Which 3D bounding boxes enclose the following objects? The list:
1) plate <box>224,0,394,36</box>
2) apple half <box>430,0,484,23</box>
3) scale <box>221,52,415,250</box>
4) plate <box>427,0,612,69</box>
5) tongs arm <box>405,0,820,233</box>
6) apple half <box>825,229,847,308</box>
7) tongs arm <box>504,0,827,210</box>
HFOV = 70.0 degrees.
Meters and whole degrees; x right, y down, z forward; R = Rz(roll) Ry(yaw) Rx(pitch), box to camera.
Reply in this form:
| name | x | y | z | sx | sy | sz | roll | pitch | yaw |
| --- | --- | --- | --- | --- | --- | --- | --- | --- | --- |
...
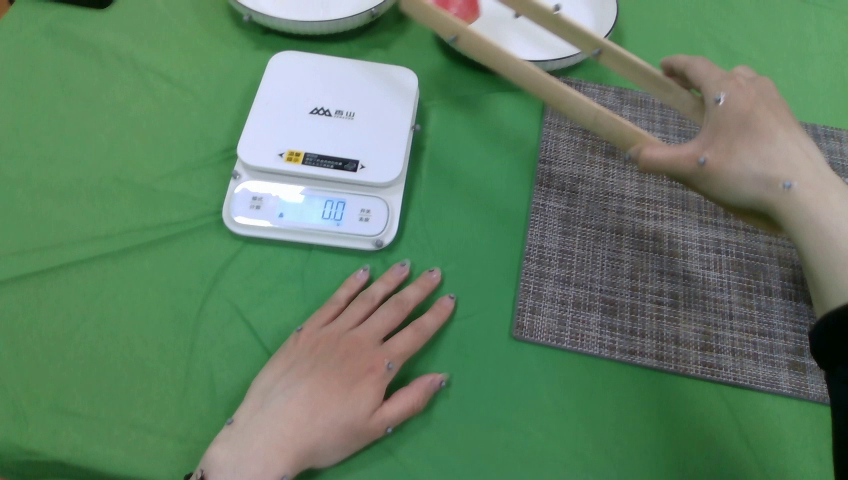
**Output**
| name | x | y | z | sx | sy | sz | roll | pitch | yaw |
| --- | --- | --- | --- | --- | --- | --- | --- | --- | --- |
| plate | -0.124 | -0.294 | 0.670 | 0.208 | 0.039 | 0.205 | 2 | 58 | -2 |
| apple half | 0.023 | -0.239 | 0.570 | 0.081 | 0.033 | 0.080 | 4 | 62 | -6 |
| scale | -0.090 | -0.087 | 0.549 | 0.149 | 0.032 | 0.199 | 7 | 59 | 1 |
| plate | 0.098 | -0.255 | 0.661 | 0.209 | 0.038 | 0.207 | 2 | 58 | -3 |
| tongs arm | 0.128 | -0.117 | 0.498 | 0.385 | 0.028 | 0.028 | 37 | 61 | 20 |
| apple half | 0.355 | 0.027 | 0.480 | 0.053 | 0.075 | 0.080 | -23 | 66 | -12 |
| tongs arm | 0.160 | -0.144 | 0.515 | 0.382 | 0.027 | 0.050 | 40 | 65 | 21 |
